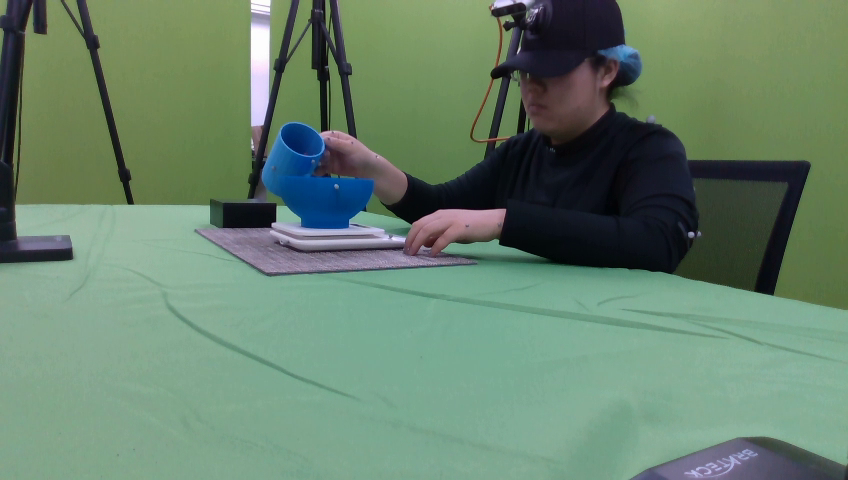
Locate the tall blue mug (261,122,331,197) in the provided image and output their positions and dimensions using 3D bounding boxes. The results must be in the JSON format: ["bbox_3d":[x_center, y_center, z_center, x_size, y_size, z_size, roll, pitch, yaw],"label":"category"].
[{"bbox_3d":[-0.216,-0.142,1.027,0.078,0.107,0.107,32,43,-6],"label":"tall blue mug"}]

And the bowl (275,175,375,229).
[{"bbox_3d":[-0.152,-0.059,0.932,0.151,0.077,0.151,2,7,0],"label":"bowl"}]

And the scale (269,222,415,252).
[{"bbox_3d":[-0.130,-0.008,0.958,0.202,0.031,0.148,-1,9,-32],"label":"scale"}]
